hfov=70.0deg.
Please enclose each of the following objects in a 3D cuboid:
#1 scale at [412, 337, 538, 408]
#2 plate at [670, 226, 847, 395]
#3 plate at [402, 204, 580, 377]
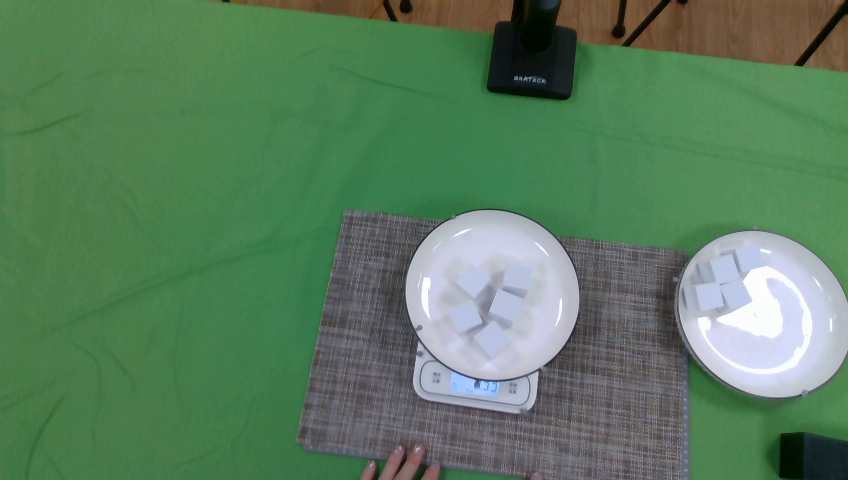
[{"bbox_3d":[0.070,0.096,0.744,0.148,0.032,0.200,8,72,4],"label":"scale"},{"bbox_3d":[0.403,0.085,0.741,0.208,0.039,0.206,0,72,1],"label":"plate"},{"bbox_3d":[0.078,0.059,0.721,0.209,0.038,0.208,0,72,1],"label":"plate"}]
